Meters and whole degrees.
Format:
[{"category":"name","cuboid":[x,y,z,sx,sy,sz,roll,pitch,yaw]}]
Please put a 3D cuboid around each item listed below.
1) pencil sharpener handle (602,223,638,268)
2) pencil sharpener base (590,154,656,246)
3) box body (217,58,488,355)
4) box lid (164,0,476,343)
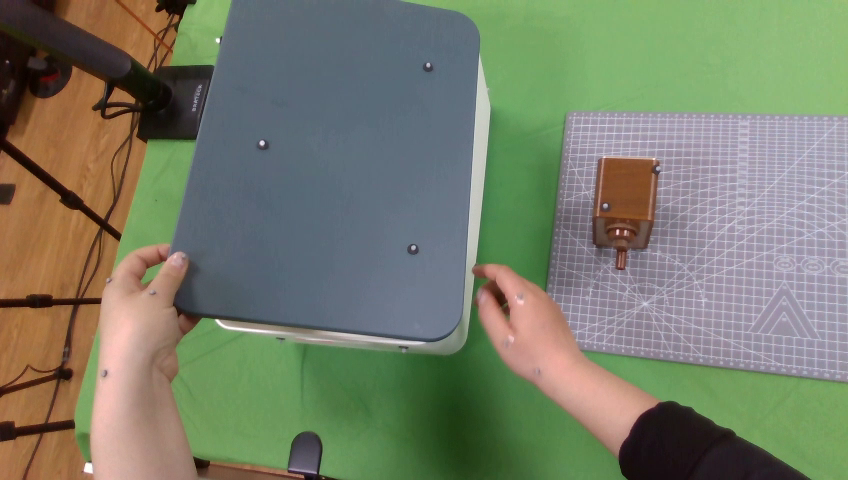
[{"category":"pencil sharpener handle","cuboid":[0.208,0.007,0.642,0.036,0.068,0.030,2,74,25]},{"category":"pencil sharpener base","cuboid":[0.217,-0.038,0.666,0.061,0.108,0.076,5,75,16]},{"category":"box body","cuboid":[-0.066,-0.051,0.721,0.253,0.161,0.362,2,74,15]},{"category":"box lid","cuboid":[-0.082,-0.093,0.591,0.264,0.015,0.369,7,69,-9]}]
